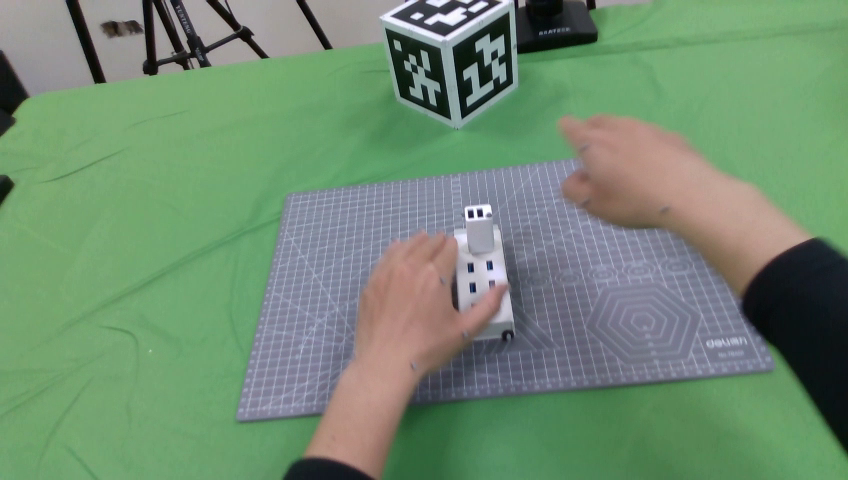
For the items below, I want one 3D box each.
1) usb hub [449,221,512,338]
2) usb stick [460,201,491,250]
[{"bbox_3d":[0.051,0.034,0.577,0.049,0.025,0.124,-7,45,5],"label":"usb hub"},{"bbox_3d":[0.050,-0.009,0.578,0.027,0.060,0.021,-10,46,4],"label":"usb stick"}]
